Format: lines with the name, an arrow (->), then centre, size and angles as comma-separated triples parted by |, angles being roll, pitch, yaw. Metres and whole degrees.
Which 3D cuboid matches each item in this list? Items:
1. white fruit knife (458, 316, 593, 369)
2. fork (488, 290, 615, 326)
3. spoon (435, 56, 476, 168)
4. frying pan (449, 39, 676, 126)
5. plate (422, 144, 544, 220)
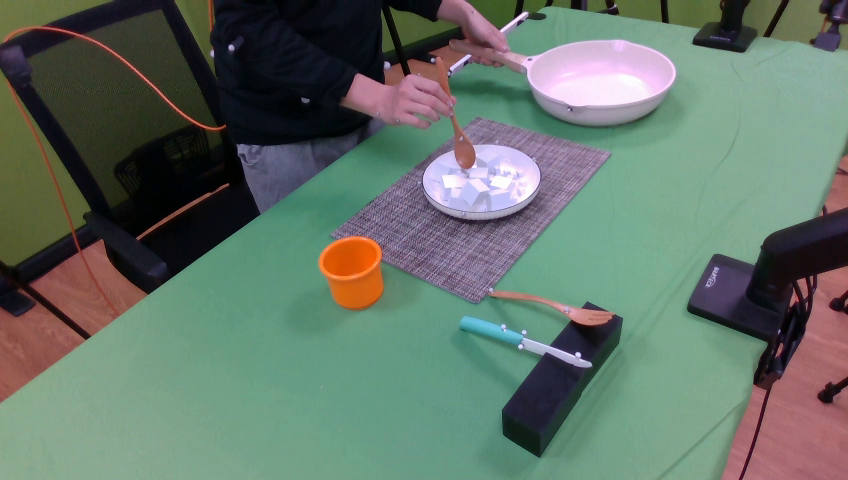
white fruit knife -> 0.120, 0.127, 0.757 | 0.205, 0.027, 0.016 | 12, 44, 43
fork -> 0.160, 0.086, 0.801 | 0.205, 0.019, 0.028 | 12, 47, 48
spoon -> 0.048, -0.205, 0.986 | 0.041, 0.195, 0.021 | 3, 40, 31
frying pan -> 0.272, -0.362, 1.287 | 0.485, 0.103, 0.307 | 23, 48, 19
plate -> 0.102, -0.097, 1.048 | 0.207, 0.039, 0.206 | -4, 40, 4
